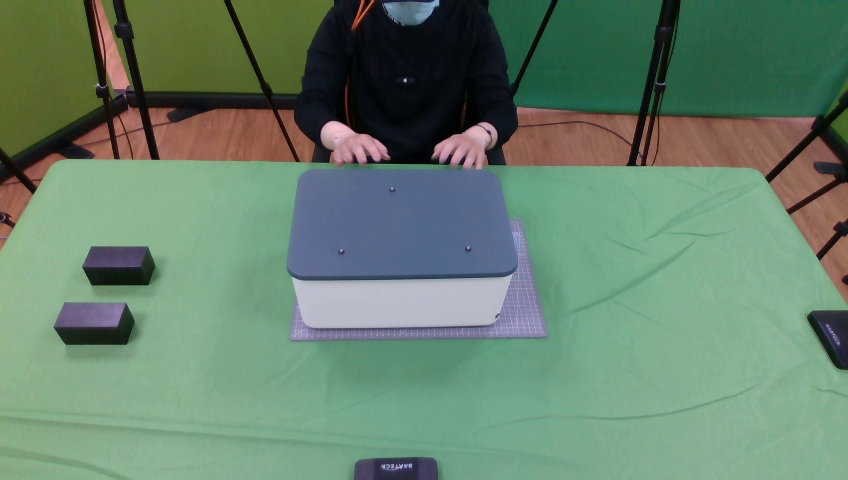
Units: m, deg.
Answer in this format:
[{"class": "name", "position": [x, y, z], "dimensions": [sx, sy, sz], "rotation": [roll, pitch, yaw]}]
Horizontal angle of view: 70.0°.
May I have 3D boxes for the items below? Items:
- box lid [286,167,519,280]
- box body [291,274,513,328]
[{"class": "box lid", "position": [-0.034, -0.036, 1.021], "dimensions": [0.372, 0.015, 0.261], "rotation": [-1, 46, -4]}, {"class": "box body", "position": [-0.040, 0.015, 1.075], "dimensions": [0.364, 0.161, 0.252], "rotation": [-1, 47, -4]}]
